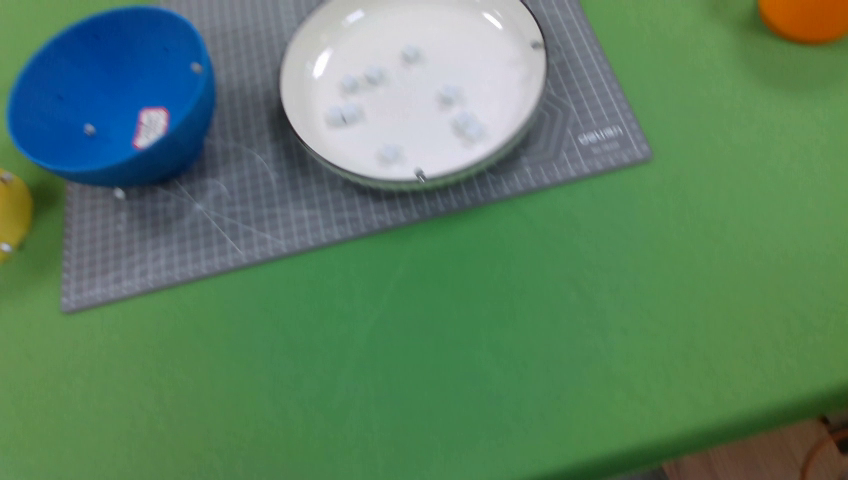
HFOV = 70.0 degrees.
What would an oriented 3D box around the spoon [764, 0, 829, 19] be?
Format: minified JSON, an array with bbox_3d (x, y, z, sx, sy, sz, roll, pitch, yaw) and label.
[{"bbox_3d":[0.336,-0.226,0.422,0.022,0.194,0.041,5,59,-41],"label":"spoon"}]

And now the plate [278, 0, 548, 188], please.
[{"bbox_3d":[-0.008,-0.127,0.476,0.209,0.038,0.207,-2,64,5],"label":"plate"}]

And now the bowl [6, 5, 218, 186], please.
[{"bbox_3d":[-0.221,-0.096,0.466,0.151,0.077,0.150,-3,64,6],"label":"bowl"}]

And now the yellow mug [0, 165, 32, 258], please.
[{"bbox_3d":[-0.372,-0.016,0.455,0.100,0.064,0.130,7,66,10],"label":"yellow mug"}]
